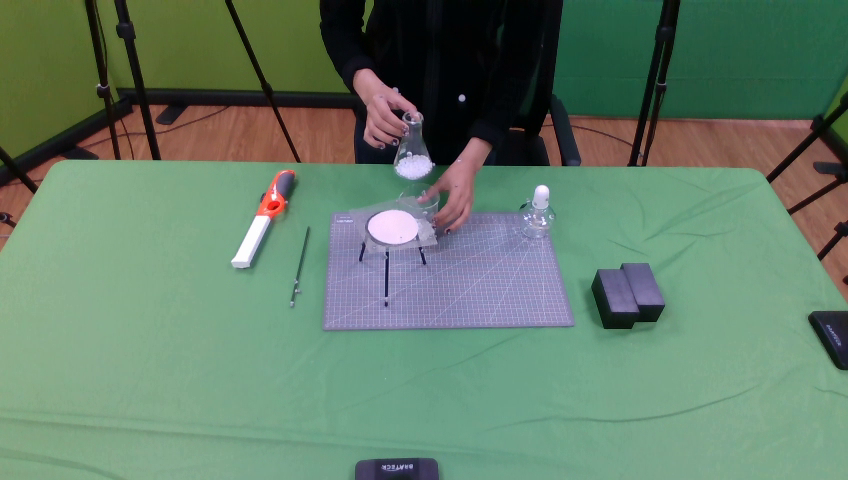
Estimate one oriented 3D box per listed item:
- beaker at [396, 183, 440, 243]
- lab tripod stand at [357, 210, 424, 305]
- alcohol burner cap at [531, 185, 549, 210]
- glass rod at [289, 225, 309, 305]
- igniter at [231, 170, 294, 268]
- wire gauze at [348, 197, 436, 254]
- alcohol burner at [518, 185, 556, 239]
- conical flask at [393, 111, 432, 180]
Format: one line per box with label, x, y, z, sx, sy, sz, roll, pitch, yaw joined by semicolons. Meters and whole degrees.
beaker;-0.014;-0.050;1.190;0.084;0.101;0.073;-3;46;-7
lab tripod stand;-0.060;0.020;1.094;0.148;0.132;0.147;3;44;-2
alcohol burner cap;0.228;-0.085;1.183;0.034;0.048;0.033;-1;48;2
glass rod;-0.235;0.043;1.149;0.008;0.008;0.198;3;46;-1
igniter;-0.321;-0.051;1.220;0.057;0.025;0.275;2;45;11
wire gauze;-0.056;-0.026;1.045;0.125;0.011;0.120;-12;46;-17
alcohol burner;0.227;-0.061;1.209;0.078;0.120;0.077;1;44;-1
conical flask;-0.021;-0.177;1.111;0.075;0.122;0.075;1;47;-1
